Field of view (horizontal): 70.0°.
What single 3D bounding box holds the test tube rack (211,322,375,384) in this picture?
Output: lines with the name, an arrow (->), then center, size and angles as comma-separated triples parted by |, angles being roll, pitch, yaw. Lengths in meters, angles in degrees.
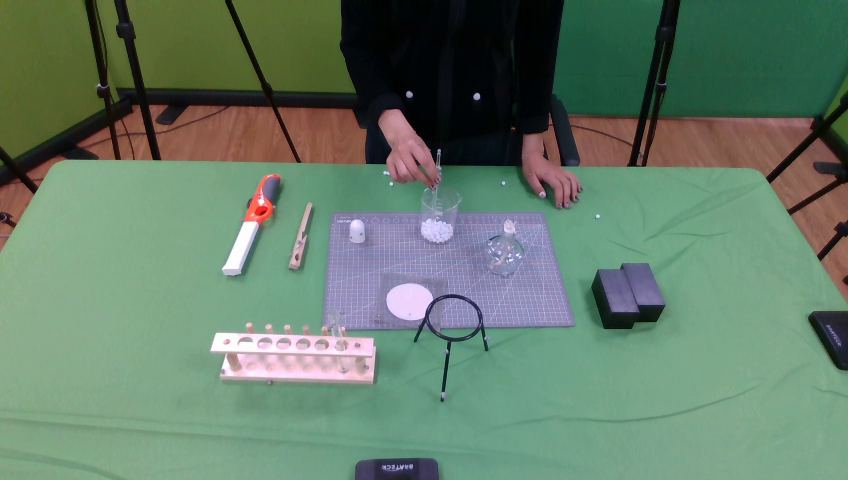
test tube rack -> -0.202, 0.176, 0.969 | 0.242, 0.085, 0.066 | 3, 46, -2

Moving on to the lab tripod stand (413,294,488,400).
lab tripod stand -> 0.044, 0.159, 0.972 | 0.148, 0.132, 0.147 | 2, 44, -2

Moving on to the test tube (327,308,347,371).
test tube -> -0.132, 0.155, 0.926 | 0.017, 0.151, 0.017 | 0, 45, 0

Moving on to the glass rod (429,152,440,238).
glass rod -> 0.020, -0.080, 1.142 | 0.008, 0.200, 0.008 | 3, 40, -2

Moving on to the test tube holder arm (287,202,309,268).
test tube holder arm -> -0.247, -0.013, 1.193 | 0.013, 0.015, 0.177 | 29, 39, -26

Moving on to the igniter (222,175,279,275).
igniter -> -0.341, -0.039, 1.206 | 0.057, 0.025, 0.275 | -1, 45, 9

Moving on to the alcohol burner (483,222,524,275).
alcohol burner -> 0.152, 0.010, 1.136 | 0.078, 0.119, 0.077 | 4, 46, -4

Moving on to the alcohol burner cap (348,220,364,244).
alcohol burner cap -> -0.134, -0.019, 1.190 | 0.034, 0.048, 0.033 | 2, 46, -2

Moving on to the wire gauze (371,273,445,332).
wire gauze -> -0.028, 0.109, 1.100 | 0.125, 0.011, 0.121 | 7, 45, 4

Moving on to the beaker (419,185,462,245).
beaker -> 0.029, -0.047, 1.191 | 0.084, 0.101, 0.073 | -5, 47, -10

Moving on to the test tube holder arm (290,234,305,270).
test tube holder arm -> -0.243, 0.021, 1.164 | 0.010, 0.015, 0.087 | 29, 39, -26
